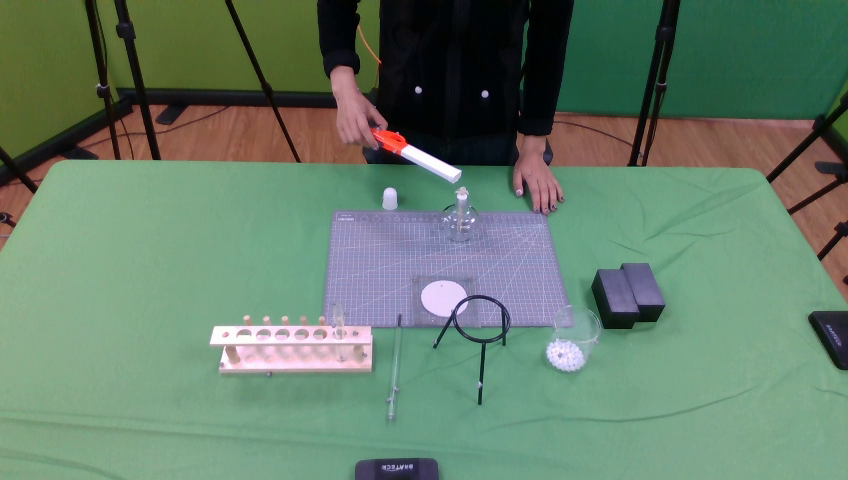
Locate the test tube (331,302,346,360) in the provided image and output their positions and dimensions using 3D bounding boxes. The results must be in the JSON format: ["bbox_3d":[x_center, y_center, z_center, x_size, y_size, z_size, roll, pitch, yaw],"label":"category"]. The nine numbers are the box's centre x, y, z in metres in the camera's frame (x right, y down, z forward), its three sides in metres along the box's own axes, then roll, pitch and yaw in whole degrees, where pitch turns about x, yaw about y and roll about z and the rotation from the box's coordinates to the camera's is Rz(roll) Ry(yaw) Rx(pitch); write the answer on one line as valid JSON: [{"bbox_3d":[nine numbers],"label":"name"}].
[{"bbox_3d":[-0.132,0.144,0.938,0.017,0.151,0.017,2,49,-3],"label":"test tube"}]

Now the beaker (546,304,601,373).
[{"bbox_3d":[0.242,0.167,1.001,0.084,0.101,0.073,-32,55,-28],"label":"beaker"}]

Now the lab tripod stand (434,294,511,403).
[{"bbox_3d":[0.087,0.164,0.969,0.148,0.132,0.147,3,47,-3],"label":"lab tripod stand"}]

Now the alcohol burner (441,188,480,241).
[{"bbox_3d":[0.073,-0.055,1.189,0.078,0.120,0.077,1,48,-1],"label":"alcohol burner"}]

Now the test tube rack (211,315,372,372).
[{"bbox_3d":[-0.208,0.163,0.982,0.242,0.085,0.066,1,46,-4],"label":"test tube rack"}]

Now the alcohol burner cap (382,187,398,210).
[{"bbox_3d":[-0.072,-0.090,1.266,0.034,0.048,0.033,2,47,-2],"label":"alcohol burner cap"}]

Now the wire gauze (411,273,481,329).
[{"bbox_3d":[0.038,0.108,1.103,0.125,0.011,0.120,2,47,-3],"label":"wire gauze"}]

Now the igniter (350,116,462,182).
[{"bbox_3d":[-0.045,-0.185,1.205,0.275,0.025,0.057,30,48,24],"label":"igniter"}]

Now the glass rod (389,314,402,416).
[{"bbox_3d":[-0.048,0.202,1.007,0.008,0.008,0.198,4,45,0],"label":"glass rod"}]
